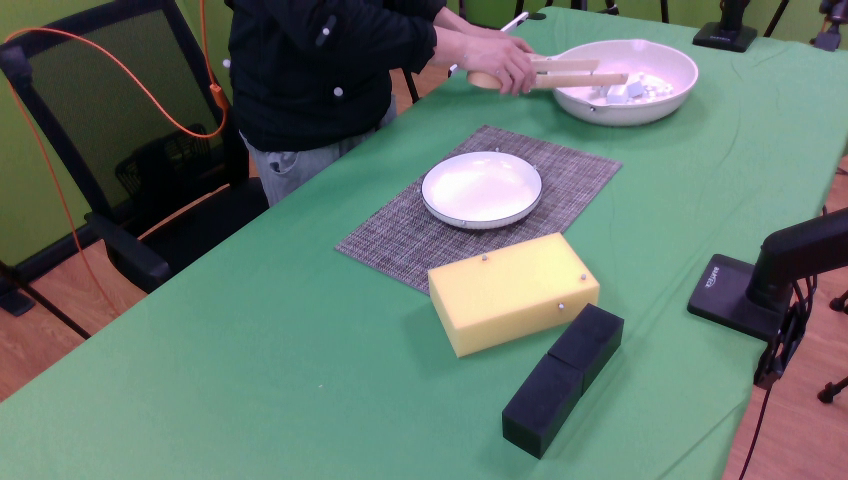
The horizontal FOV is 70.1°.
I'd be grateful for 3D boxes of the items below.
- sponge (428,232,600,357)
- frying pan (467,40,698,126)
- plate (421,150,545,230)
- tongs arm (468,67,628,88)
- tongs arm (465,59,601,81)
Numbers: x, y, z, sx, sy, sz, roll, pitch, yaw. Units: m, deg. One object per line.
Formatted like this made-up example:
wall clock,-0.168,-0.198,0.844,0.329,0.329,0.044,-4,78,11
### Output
sponge,0.120,0.071,0.834,0.207,0.061,0.117,-16,43,-12
frying pan,0.312,-0.359,1.278,0.485,0.103,0.307,23,48,20
plate,0.100,-0.082,1.031,0.207,0.039,0.206,-4,40,4
tongs arm,0.246,-0.307,1.138,0.387,0.026,0.050,-13,43,-35
tongs arm,0.221,-0.333,1.167,0.390,0.028,0.028,-15,47,-37
